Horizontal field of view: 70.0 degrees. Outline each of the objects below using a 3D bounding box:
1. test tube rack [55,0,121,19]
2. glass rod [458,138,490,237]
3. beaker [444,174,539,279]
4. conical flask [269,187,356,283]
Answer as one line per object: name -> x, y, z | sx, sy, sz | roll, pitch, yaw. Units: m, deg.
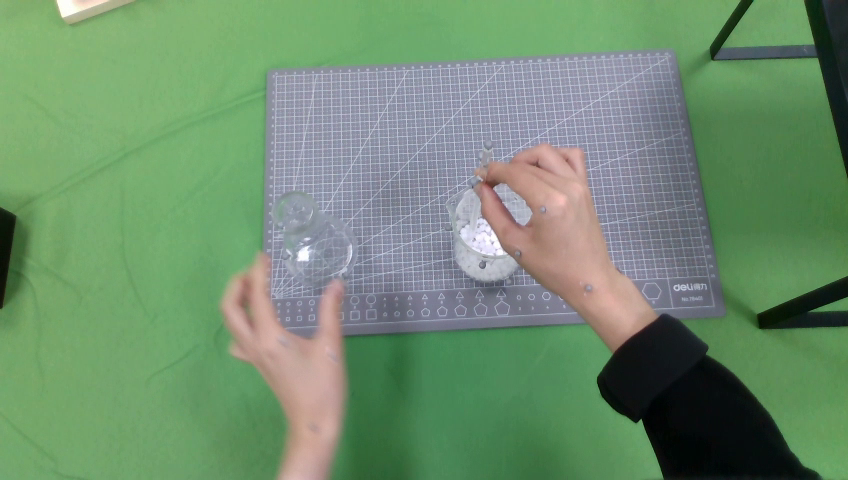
test tube rack -> -0.314, -0.340, 0.675 | 0.242, 0.085, 0.066 | -23, 74, -6
glass rod -> 0.038, -0.036, 0.498 | 0.008, 0.200, 0.008 | 1, 72, -1
beaker -> 0.058, -0.009, 0.561 | 0.084, 0.101, 0.073 | 20, 74, 8
conical flask -> -0.107, -0.010, 0.552 | 0.075, 0.122, 0.075 | 0, 73, 1
